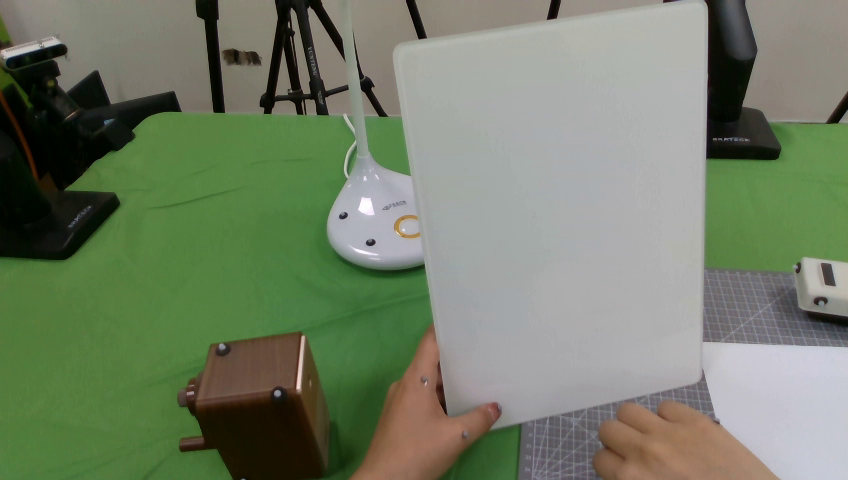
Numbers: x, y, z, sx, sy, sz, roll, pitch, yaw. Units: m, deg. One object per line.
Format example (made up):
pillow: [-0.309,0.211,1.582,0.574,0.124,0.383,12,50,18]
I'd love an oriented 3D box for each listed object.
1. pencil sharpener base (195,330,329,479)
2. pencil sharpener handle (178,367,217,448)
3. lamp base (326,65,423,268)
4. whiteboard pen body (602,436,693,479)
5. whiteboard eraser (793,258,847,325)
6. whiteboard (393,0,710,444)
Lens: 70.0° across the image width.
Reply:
pencil sharpener base: [-0.119,0.127,0.456,0.077,0.108,0.060,-7,39,-2]
pencil sharpener handle: [-0.170,0.126,0.443,0.030,0.068,0.035,-7,26,-1]
lamp base: [-0.046,-0.088,0.657,0.161,0.182,0.177,-28,42,-26]
whiteboard pen body: [0.140,0.175,0.436,0.141,0.017,0.017,-22,41,-18]
whiteboard eraser: [0.397,0.051,0.543,0.112,0.042,0.055,9,45,17]
whiteboard: [0.097,-0.021,0.505,0.217,0.307,0.143,-10,20,-5]
